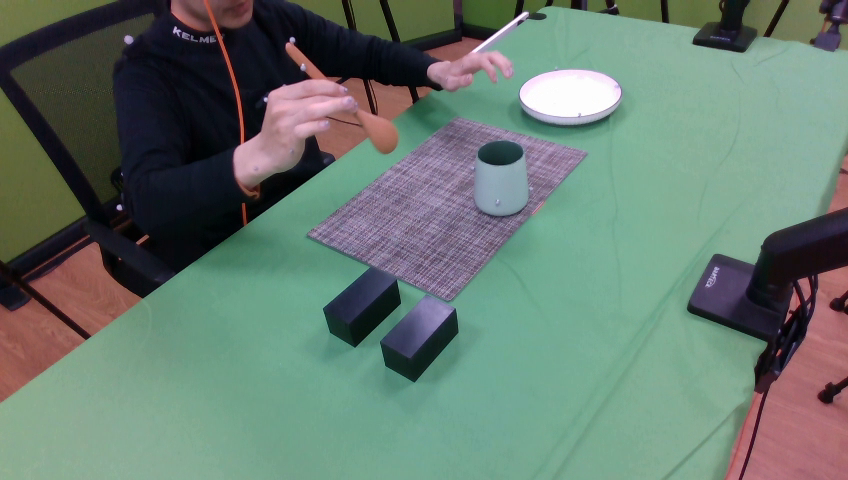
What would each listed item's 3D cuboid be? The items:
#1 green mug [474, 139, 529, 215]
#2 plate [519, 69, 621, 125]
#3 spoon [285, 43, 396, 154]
[{"bbox_3d":[0.126,-0.113,1.013,0.092,0.105,0.124,-8,41,0],"label":"green mug"},{"bbox_3d":[0.300,-0.293,1.253,0.209,0.038,0.208,-4,41,4],"label":"plate"},{"bbox_3d":[-0.100,-0.172,0.751,0.041,0.195,0.021,-57,35,-8],"label":"spoon"}]
